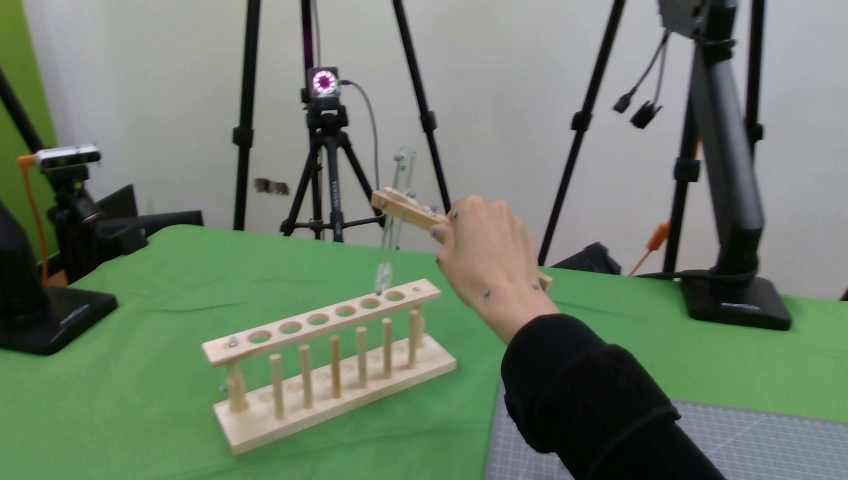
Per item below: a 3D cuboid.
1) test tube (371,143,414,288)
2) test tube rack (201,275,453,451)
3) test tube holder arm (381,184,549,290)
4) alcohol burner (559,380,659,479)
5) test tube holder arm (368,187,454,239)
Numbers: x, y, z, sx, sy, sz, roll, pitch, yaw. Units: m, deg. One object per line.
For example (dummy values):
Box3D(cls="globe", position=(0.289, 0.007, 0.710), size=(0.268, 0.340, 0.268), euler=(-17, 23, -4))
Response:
Box3D(cls="test tube", position=(-0.030, -0.017, 0.545), size=(0.017, 0.151, 0.017), euler=(10, 32, -6))
Box3D(cls="test tube rack", position=(-0.088, 0.116, 0.613), size=(0.243, 0.086, 0.066), euler=(-15, 30, -29))
Box3D(cls="test tube holder arm", position=(0.028, -0.007, 0.504), size=(0.177, 0.015, 0.013), euler=(30, 35, 30))
Box3D(cls="alcohol burner", position=(0.149, 0.162, 0.482), size=(0.078, 0.120, 0.077), euler=(1, 24, 0))
Box3D(cls="test tube holder arm", position=(-0.011, -0.024, 0.520), size=(0.087, 0.015, 0.010), euler=(25, 33, 23))
